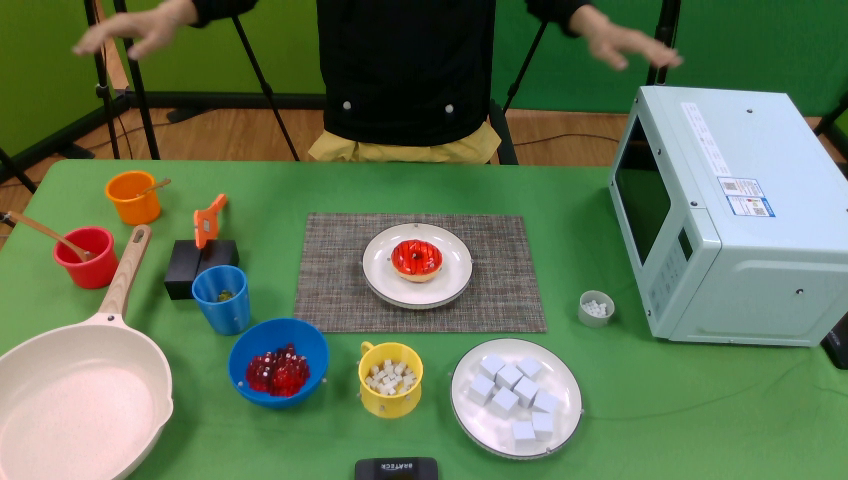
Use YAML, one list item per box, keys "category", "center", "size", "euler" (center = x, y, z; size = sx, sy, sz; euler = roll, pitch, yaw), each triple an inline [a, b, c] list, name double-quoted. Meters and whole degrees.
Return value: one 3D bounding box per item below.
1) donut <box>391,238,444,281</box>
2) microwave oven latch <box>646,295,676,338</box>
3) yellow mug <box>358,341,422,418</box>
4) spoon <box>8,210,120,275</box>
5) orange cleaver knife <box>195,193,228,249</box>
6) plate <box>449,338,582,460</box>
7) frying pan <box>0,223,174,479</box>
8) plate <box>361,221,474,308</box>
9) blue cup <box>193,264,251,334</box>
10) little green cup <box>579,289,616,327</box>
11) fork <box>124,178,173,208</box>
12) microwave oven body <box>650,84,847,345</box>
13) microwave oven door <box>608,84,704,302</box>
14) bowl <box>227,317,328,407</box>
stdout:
- category: "donut"
  center: [-0.012, 0.035, 1.128]
  size: [0.099, 0.048, 0.098]
  euler: [3, 43, -3]
- category: "microwave oven latch"
  center: [0.412, 0.133, 1.060]
  size: [0.030, 0.029, 0.078]
  euler: [4, 46, 1]
- category: "yellow mug"
  center: [-0.063, 0.210, 0.961]
  size: [0.100, 0.064, 0.130]
  euler: [-29, 54, -28]
- category: "spoon"
  center: [-0.628, 0.002, 1.063]
  size: [0.195, 0.021, 0.041]
  euler: [40, 41, -27]
- category: "orange cleaver knife"
  center: [-0.406, -0.041, 1.163]
  size: [0.012, 0.077, 0.210]
  euler: [0, 18, -3]
- category: "plate"
  center: [0.141, 0.251, 0.955]
  size: [0.208, 0.039, 0.206]
  euler: [2, 47, -2]
- category: "frying pan"
  center: [-0.505, 0.169, 0.941]
  size: [0.307, 0.103, 0.485]
  euler: [5, 54, -1]
- category: "plate"
  center: [-0.011, 0.049, 1.130]
  size: [0.209, 0.038, 0.208]
  euler: [2, 46, -2]
- category: "blue cup"
  center: [-0.331, 0.105, 1.016]
  size: [0.093, 0.101, 0.092]
  euler: [1, 45, -1]
- category: "little green cup"
  center: [0.308, 0.124, 1.086]
  size: [0.061, 0.039, 0.061]
  euler: [3, 45, -2]
- category: "fork"
  center: [-0.525, -0.089, 1.153]
  size: [0.207, 0.019, 0.028]
  euler: [-18, 27, 45]
- category: "microwave oven body"
  center: [0.568, -0.054, 1.116]
  size: [0.326, 0.261, 0.439]
  euler: [2, 46, -1]
- category: "microwave oven door"
  center: [0.424, -0.096, 1.138]
  size: [0.039, 0.245, 0.353]
  euler: [2, 46, -1]
- category: "bowl"
  center: [-0.222, 0.203, 0.947]
  size: [0.151, 0.077, 0.150]
  euler: [2, 46, -2]
